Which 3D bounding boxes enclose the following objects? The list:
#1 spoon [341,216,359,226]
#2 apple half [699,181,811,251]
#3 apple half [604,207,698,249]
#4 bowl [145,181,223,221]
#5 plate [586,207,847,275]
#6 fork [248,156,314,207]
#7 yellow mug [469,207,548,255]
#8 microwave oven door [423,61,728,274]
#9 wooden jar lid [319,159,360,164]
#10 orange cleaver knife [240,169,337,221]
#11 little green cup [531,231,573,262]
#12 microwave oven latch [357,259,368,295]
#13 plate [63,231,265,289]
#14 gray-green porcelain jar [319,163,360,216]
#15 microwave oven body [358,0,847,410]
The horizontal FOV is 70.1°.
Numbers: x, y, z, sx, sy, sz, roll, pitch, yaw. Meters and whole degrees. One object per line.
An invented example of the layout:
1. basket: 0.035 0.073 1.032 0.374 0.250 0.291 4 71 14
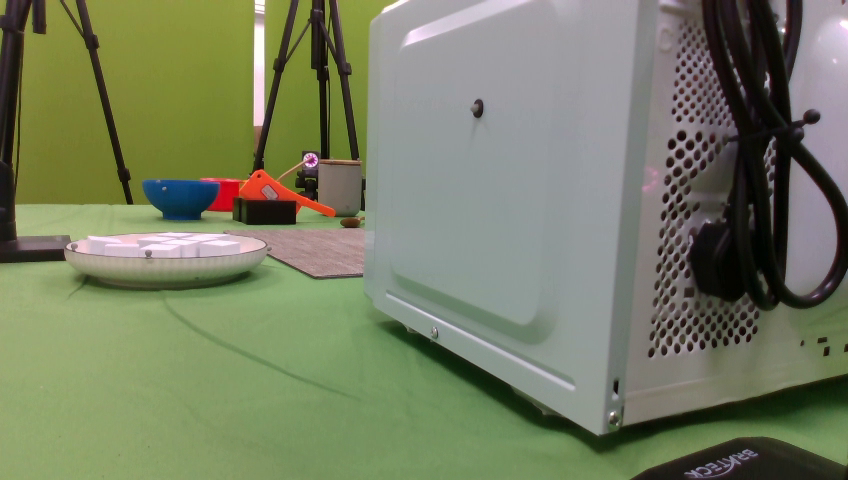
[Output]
1. spoon: -0.132 -0.048 1.305 0.041 0.021 0.194 -16 3 14
2. apple half: 0.280 -0.021 0.511 0.075 0.053 0.080 11 -10 -18
3. apple half: 0.207 -0.014 0.543 0.081 0.033 0.081 3 11 0
4. bowl: -0.499 -0.081 1.261 0.151 0.077 0.151 2 8 0
5. plate: 0.245 -0.002 0.516 0.209 0.038 0.209 2 7 0
6. fork: -0.360 -0.147 1.523 0.207 0.019 0.028 -43 18 -6
7. yellow mug: 0.136 -0.015 0.951 0.131 0.064 0.099 2 7 -20
8. microwave oven door: 0.173 -0.094 0.754 0.355 0.243 0.039 4 8 20
9. wooden jar lid: -0.203 -0.189 1.482 0.108 0.020 0.108 2 10 0
10. orange cleaver knife: -0.287 -0.082 1.298 0.212 0.077 0.012 25 -2 -31
11. little green cup: 0.185 0.009 0.879 0.061 0.038 0.061 2 9 0
12. microwave oven latch: -0.019 0.031 0.529 0.079 0.029 0.030 -1 7 -26
13. plate: -0.288 0.021 0.687 0.208 0.039 0.207 2 8 0
14. gray-green porcelain jar: -0.204 -0.126 1.490 0.106 0.126 0.106 2 8 0
15. microwave oven body: 0.210 -0.051 0.471 0.444 0.260 0.324 -1 7 -28
